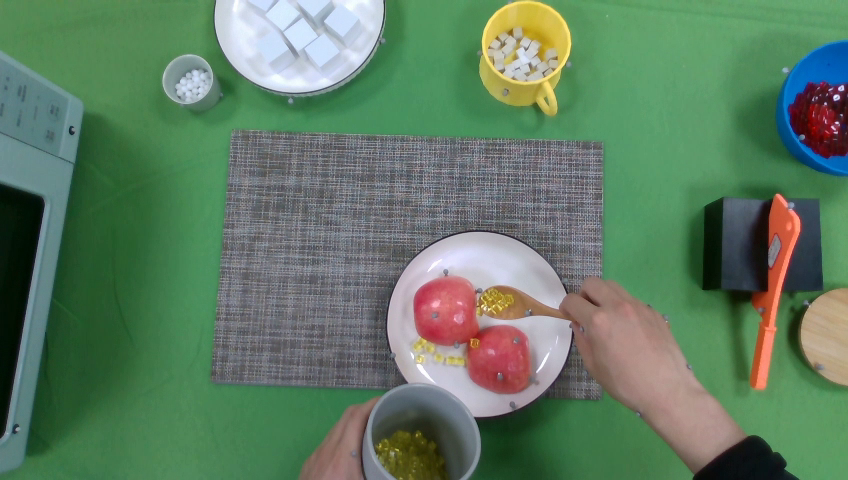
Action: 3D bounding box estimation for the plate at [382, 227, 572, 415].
[{"bbox_3d":[0.058,0.090,0.683,0.209,0.038,0.208,0,84,2],"label":"plate"}]

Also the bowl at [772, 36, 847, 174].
[{"bbox_3d":[0.456,-0.140,0.679,0.151,0.077,0.151,0,83,3],"label":"bowl"}]

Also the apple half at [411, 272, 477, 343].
[{"bbox_3d":[0.021,0.075,0.671,0.074,0.053,0.080,-1,84,5],"label":"apple half"}]

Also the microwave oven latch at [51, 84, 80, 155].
[{"bbox_3d":[-0.431,-0.143,0.715,0.030,0.029,0.079,8,84,3],"label":"microwave oven latch"}]

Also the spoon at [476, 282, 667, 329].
[{"bbox_3d":[0.139,0.070,0.600,0.192,0.021,0.042,7,111,36],"label":"spoon"}]

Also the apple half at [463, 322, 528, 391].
[{"bbox_3d":[0.080,0.129,0.671,0.081,0.033,0.081,0,80,2],"label":"apple half"}]

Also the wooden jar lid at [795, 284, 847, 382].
[{"bbox_3d":[0.468,0.104,0.678,0.108,0.021,0.108,0,83,4],"label":"wooden jar lid"}]

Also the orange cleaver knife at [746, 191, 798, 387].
[{"bbox_3d":[0.368,0.054,0.657,0.012,0.077,0.212,3,107,6],"label":"orange cleaver knife"}]

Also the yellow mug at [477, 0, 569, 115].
[{"bbox_3d":[0.120,-0.206,0.707,0.100,0.064,0.130,-26,84,-1],"label":"yellow mug"}]

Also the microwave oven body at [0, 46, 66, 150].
[{"bbox_3d":[-0.601,0.005,0.607,0.326,0.261,0.440,5,84,3],"label":"microwave oven body"}]

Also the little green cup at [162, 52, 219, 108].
[{"bbox_3d":[-0.279,-0.190,0.732,0.061,0.039,0.061,0,84,1],"label":"little green cup"}]

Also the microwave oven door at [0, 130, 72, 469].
[{"bbox_3d":[-0.460,0.061,0.590,0.039,0.244,0.355,5,83,4],"label":"microwave oven door"}]

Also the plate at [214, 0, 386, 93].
[{"bbox_3d":[-0.148,-0.276,0.740,0.207,0.039,0.207,0,83,2],"label":"plate"}]

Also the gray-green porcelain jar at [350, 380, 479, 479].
[{"bbox_3d":[-0.014,0.213,0.583,0.106,0.127,0.105,9,45,-9],"label":"gray-green porcelain jar"}]
